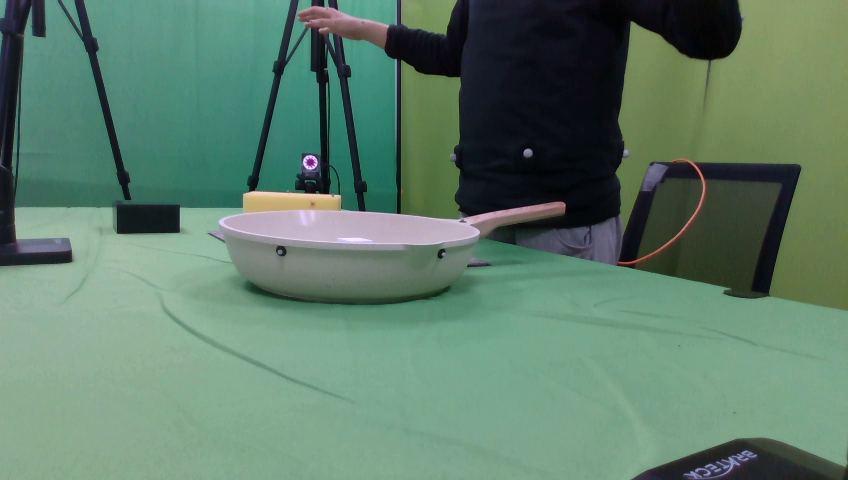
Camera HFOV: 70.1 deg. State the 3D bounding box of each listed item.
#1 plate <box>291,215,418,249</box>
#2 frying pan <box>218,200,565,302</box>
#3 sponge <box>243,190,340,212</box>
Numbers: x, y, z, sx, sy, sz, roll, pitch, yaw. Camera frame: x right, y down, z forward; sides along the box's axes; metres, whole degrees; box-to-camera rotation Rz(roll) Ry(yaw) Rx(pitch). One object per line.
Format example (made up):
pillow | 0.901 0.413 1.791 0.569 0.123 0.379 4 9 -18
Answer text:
plate | -0.115 -0.013 1.002 0.208 0.039 0.207 2 7 0
frying pan | 0.003 -0.010 0.754 0.490 0.102 0.305 -12 16 -32
sponge | -0.298 -0.077 1.388 0.207 0.061 0.118 2 8 -7
